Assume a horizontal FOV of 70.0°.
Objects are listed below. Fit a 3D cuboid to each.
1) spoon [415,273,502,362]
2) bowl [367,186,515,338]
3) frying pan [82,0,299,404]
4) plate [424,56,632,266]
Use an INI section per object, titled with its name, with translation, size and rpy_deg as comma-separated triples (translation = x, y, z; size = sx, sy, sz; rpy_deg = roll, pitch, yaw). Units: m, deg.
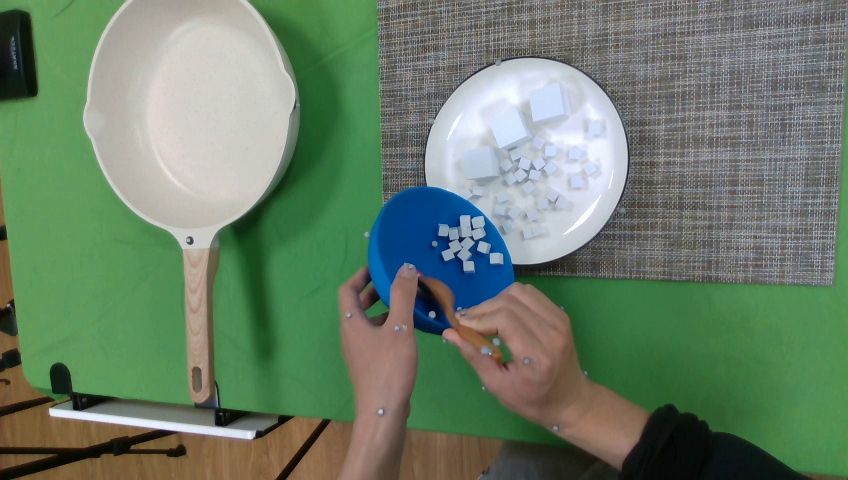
[spoon]
translation = 0.027, 0.063, 0.504
size = 0.042, 0.192, 0.021
rpy_deg = 39, 94, -20
[bowl]
translation = 0.004, 0.032, 0.581
size = 0.151, 0.151, 0.077
rpy_deg = 55, 138, 7
[frying pan]
translation = -0.272, -0.050, 0.727
size = 0.305, 0.103, 0.487
rpy_deg = -1, 88, 21
[plate]
translation = 0.103, -0.078, 0.617
size = 0.207, 0.039, 0.208
rpy_deg = 2, 97, 20
